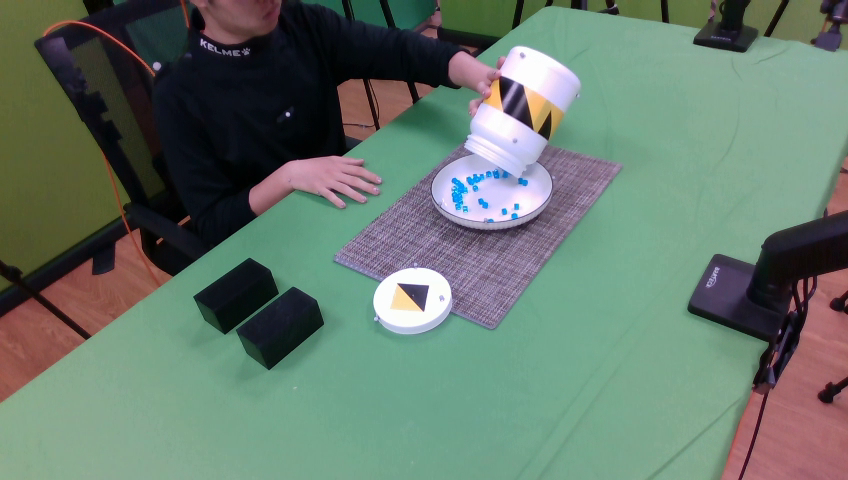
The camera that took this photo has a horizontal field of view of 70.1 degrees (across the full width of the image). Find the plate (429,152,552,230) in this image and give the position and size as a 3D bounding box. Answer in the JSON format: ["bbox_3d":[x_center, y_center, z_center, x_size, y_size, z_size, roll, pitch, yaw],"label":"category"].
[{"bbox_3d":[0.113,-0.082,1.032,0.207,0.039,0.206,-4,41,4],"label":"plate"}]

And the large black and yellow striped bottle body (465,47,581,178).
[{"bbox_3d":[0.159,-0.207,1.002,0.129,0.132,0.184,37,101,39],"label":"large black and yellow striped bottle body"}]

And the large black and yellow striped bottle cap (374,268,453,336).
[{"bbox_3d":[-0.015,0.087,0.871,0.115,0.019,0.114,-6,43,6],"label":"large black and yellow striped bottle cap"}]
